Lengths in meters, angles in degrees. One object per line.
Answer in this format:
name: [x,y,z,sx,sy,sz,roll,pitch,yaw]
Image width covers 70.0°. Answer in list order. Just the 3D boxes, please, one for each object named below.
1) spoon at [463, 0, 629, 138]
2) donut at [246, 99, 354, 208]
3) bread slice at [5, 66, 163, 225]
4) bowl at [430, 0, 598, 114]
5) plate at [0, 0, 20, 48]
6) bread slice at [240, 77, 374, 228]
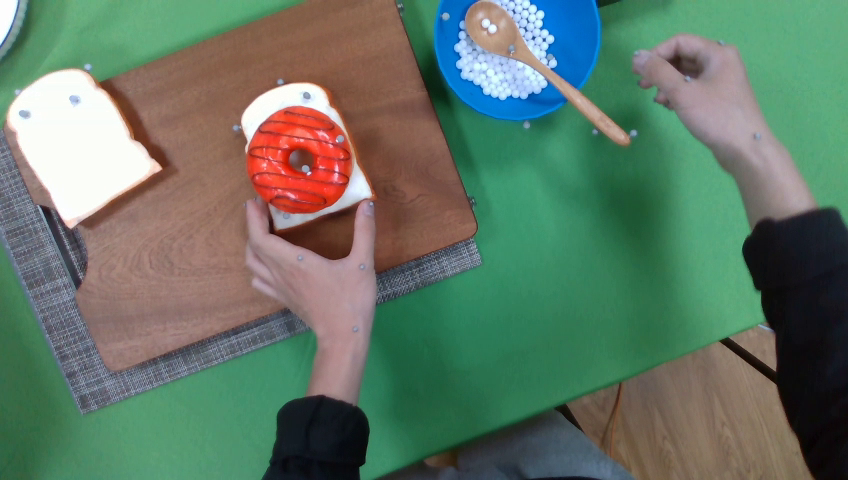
spoon: [0.109,-0.156,0.548,0.192,0.022,0.041,45,99,13]
donut: [-0.114,-0.078,0.555,0.099,0.048,0.099,0,97,-1]
bread slice: [-0.331,-0.095,0.579,0.107,0.018,0.134,-35,94,2]
bowl: [0.080,-0.191,0.576,0.151,0.076,0.151,0,96,-1]
plate: [-0.487,-0.252,0.581,0.208,0.039,0.208,0,96,-1]
bread slice: [-0.120,-0.088,0.584,0.105,0.019,0.132,-21,97,0]
